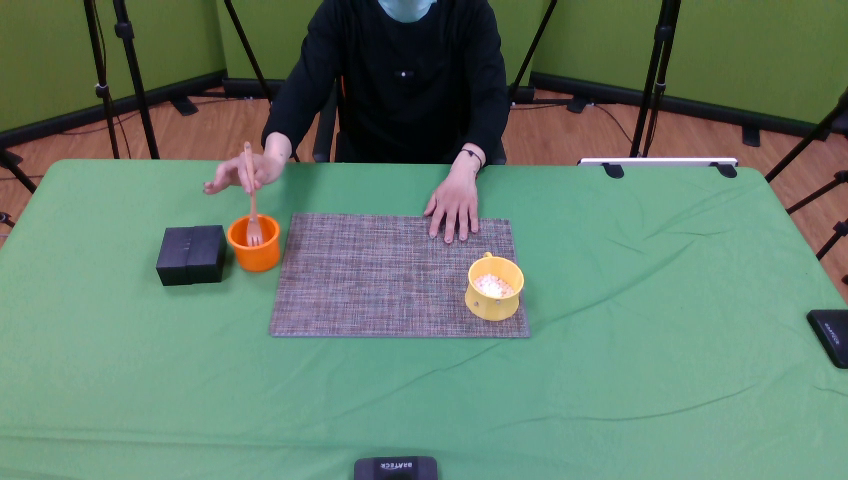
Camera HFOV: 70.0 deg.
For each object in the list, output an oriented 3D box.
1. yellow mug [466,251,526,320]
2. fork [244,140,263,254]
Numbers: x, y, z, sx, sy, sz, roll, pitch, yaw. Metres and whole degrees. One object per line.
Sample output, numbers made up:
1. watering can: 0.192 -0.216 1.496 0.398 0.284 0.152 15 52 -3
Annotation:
1. yellow mug: 0.125 0.074 1.096 0.100 0.064 0.130 -4 46 -7
2. fork: -0.312 -0.078 1.100 0.028 0.207 0.018 -5 4 -31
